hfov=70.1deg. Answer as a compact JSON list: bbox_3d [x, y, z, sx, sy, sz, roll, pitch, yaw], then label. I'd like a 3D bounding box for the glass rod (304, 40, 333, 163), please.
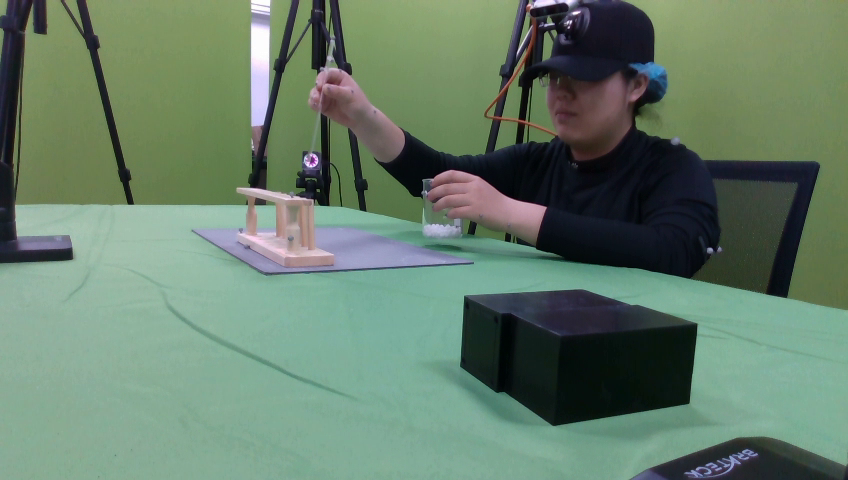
[{"bbox_3d":[-0.164,-0.217,0.944,0.008,0.199,0.008,11,-3,1],"label":"glass rod"}]

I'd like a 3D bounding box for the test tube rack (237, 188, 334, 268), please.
[{"bbox_3d":[-0.202,-0.024,0.854,0.067,0.085,0.241,-2,8,-30],"label":"test tube rack"}]

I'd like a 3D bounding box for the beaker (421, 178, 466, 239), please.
[{"bbox_3d":[0.035,-0.053,1.018,0.083,0.100,0.074,5,6,42],"label":"beaker"}]
